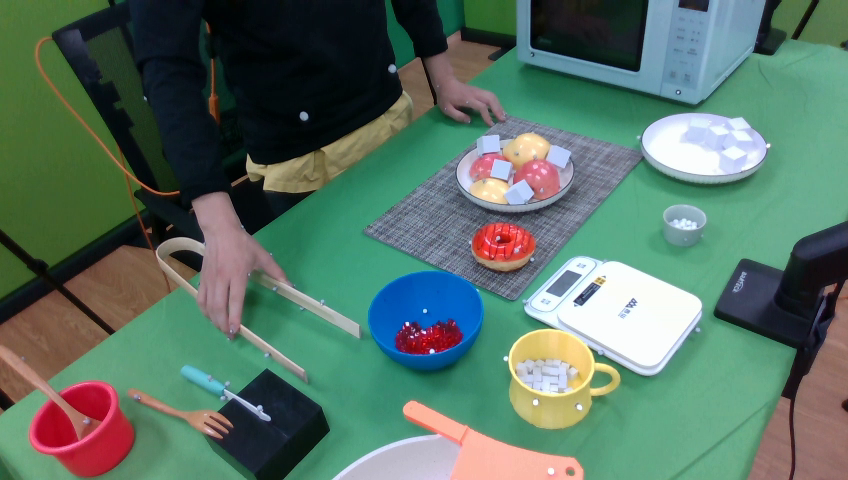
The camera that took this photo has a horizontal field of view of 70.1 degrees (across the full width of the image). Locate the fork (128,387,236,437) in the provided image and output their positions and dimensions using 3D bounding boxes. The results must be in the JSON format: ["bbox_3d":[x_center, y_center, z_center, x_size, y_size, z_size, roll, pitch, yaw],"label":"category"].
[{"bbox_3d":[-0.305,0.207,0.744,0.206,0.019,0.028,3,41,36],"label":"fork"}]

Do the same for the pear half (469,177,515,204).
[{"bbox_3d":[0.115,-0.090,1.036,0.087,0.031,0.071,29,39,32],"label":"pear half"}]

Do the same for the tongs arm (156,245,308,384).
[{"bbox_3d":[-0.289,0.099,0.871,0.384,0.028,0.028,28,51,33],"label":"tongs arm"}]

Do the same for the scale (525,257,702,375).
[{"bbox_3d":[0.254,0.091,0.821,0.199,0.032,0.149,28,51,35],"label":"scale"}]

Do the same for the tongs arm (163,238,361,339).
[{"bbox_3d":[-0.255,0.071,0.907,0.382,0.026,0.051,24,46,28],"label":"tongs arm"}]

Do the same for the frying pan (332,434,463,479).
[{"bbox_3d":[-0.089,0.306,0.564,0.487,0.103,0.306,10,41,7],"label":"frying pan"}]

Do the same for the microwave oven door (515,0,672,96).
[{"bbox_3d":[0.343,-0.454,1.259,0.353,0.245,0.039,26,51,33],"label":"microwave oven door"}]

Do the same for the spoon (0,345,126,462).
[{"bbox_3d":[-0.434,0.192,0.720,0.194,0.021,0.042,47,53,-7],"label":"spoon"}]

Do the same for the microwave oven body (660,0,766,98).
[{"bbox_3d":[0.472,-0.513,1.317,0.438,0.261,0.327,26,51,34],"label":"microwave oven body"}]

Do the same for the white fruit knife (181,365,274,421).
[{"bbox_3d":[-0.245,0.187,0.747,0.205,0.027,0.016,9,42,41],"label":"white fruit knife"}]

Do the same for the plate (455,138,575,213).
[{"bbox_3d":[0.159,-0.111,1.063,0.209,0.038,0.208,-4,40,4],"label":"plate"}]

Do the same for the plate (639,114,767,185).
[{"bbox_3d":[0.489,-0.157,1.074,0.207,0.039,0.206,-4,40,4],"label":"plate"}]

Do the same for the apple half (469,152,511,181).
[{"bbox_3d":[0.119,-0.138,1.087,0.081,0.033,0.081,-1,45,1],"label":"apple half"}]

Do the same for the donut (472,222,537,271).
[{"bbox_3d":[0.123,0.009,0.923,0.099,0.048,0.098,-3,38,3],"label":"donut"}]

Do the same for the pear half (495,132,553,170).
[{"bbox_3d":[0.174,-0.167,1.094,0.109,0.056,0.076,15,53,30],"label":"pear half"}]

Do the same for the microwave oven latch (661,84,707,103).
[{"bbox_3d":[0.517,-0.296,1.204,0.078,0.029,0.030,27,52,35],"label":"microwave oven latch"}]

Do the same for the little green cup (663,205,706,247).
[{"bbox_3d":[0.396,-0.020,0.926,0.061,0.039,0.061,-4,40,4],"label":"little green cup"}]

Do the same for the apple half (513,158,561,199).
[{"bbox_3d":[0.193,-0.111,1.031,0.080,0.053,0.075,11,41,26],"label":"apple half"}]

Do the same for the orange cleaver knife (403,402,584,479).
[{"bbox_3d":[0.062,0.222,0.609,0.210,0.012,0.077,15,48,25],"label":"orange cleaver knife"}]

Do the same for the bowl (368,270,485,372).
[{"bbox_3d":[0.007,0.118,0.791,0.151,0.077,0.150,-5,40,4],"label":"bowl"}]

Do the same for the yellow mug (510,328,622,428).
[{"bbox_3d":[0.168,0.164,0.722,0.130,0.064,0.099,0,40,8],"label":"yellow mug"}]
